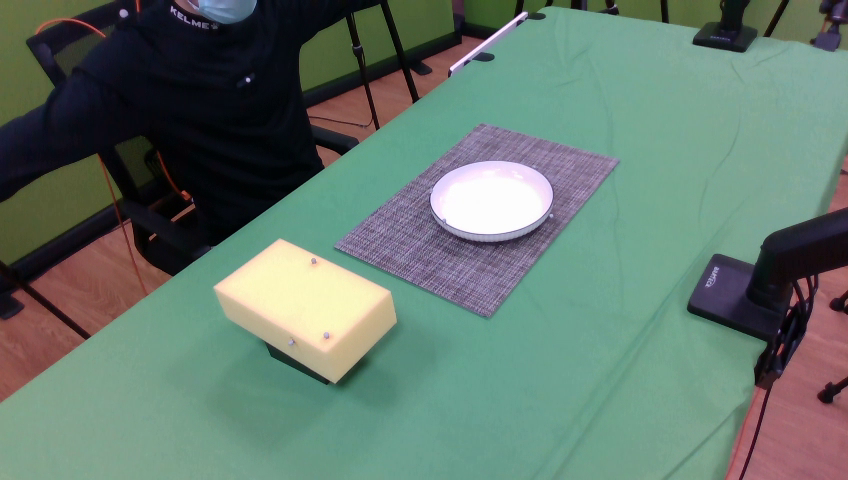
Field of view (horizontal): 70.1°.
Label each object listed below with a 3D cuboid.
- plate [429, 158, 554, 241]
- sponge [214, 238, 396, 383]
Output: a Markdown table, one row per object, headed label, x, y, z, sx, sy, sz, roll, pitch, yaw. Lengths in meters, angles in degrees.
| label | x | y | z | sx | sy | sz | roll | pitch | yaw |
| --- | --- | --- | --- | --- | --- | --- | --- | --- | --- |
| plate | 0.112 | -0.065 | 1.011 | 0.207 | 0.039 | 0.206 | -4 | 41 | 4 |
| sponge | -0.154 | 0.084 | 0.787 | 0.205 | 0.061 | 0.118 | 22 | 49 | 29 |
